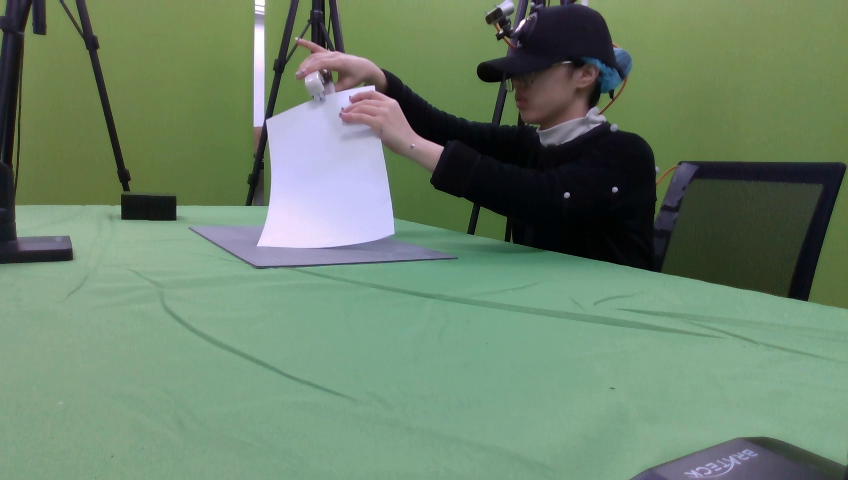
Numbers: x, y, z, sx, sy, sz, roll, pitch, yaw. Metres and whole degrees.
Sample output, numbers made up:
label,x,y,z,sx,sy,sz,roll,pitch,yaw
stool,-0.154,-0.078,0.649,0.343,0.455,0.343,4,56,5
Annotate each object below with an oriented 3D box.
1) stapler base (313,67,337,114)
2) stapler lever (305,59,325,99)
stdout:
label,x,y,z,sx,sy,sz,roll,pitch,yaw
stapler base,-0.182,-0.273,1.076,0.041,0.024,0.130,-21,46,5
stapler lever,-0.192,-0.289,1.059,0.027,0.040,0.117,-21,46,5
